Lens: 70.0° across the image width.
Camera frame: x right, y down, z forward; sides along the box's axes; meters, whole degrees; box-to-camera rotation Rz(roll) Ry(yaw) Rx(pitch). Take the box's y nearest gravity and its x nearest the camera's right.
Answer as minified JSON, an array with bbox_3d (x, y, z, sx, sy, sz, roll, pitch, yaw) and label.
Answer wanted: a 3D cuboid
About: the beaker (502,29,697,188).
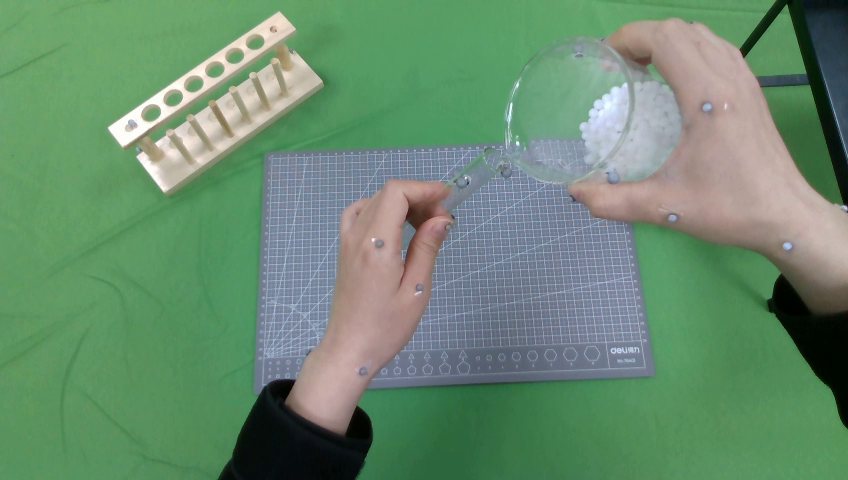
[{"bbox_3d":[0.102,-0.066,0.345,0.101,0.084,0.073,0,66,-47],"label":"beaker"}]

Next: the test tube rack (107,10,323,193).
[{"bbox_3d":[-0.247,-0.169,0.742,0.242,0.085,0.066,-39,76,-11],"label":"test tube rack"}]

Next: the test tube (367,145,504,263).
[{"bbox_3d":[0.001,-0.018,0.394,0.017,0.150,0.017,16,58,-27],"label":"test tube"}]
